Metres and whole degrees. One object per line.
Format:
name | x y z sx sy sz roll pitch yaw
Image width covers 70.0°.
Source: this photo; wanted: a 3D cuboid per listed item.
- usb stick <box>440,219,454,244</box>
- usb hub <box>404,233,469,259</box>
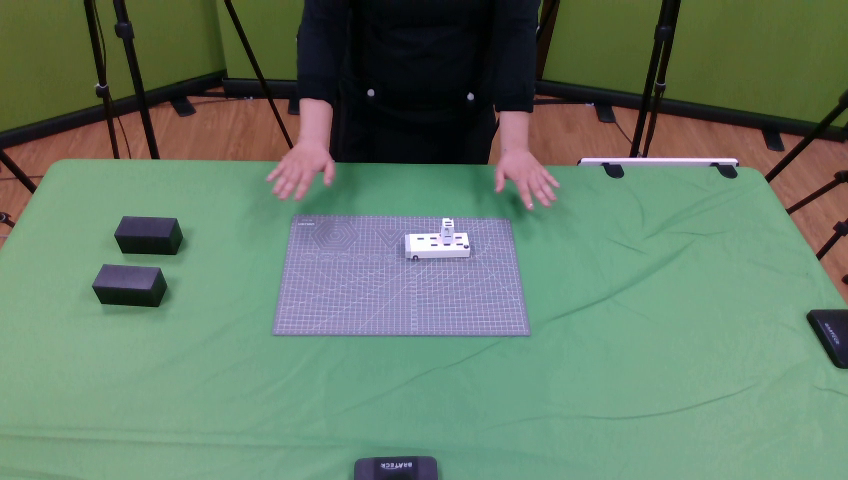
usb stick | 0.043 -0.011 1.166 0.021 0.059 0.027 -3 48 -8
usb hub | 0.024 0.012 1.181 0.125 0.025 0.049 -2 47 -5
